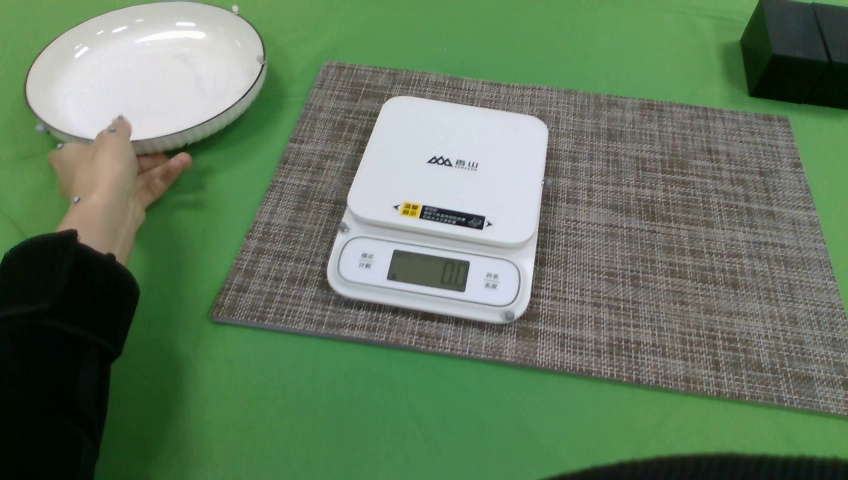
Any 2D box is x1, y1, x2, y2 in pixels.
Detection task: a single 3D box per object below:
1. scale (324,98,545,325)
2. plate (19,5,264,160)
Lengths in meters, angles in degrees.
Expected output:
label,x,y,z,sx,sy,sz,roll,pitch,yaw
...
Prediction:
label,x,y,z,sx,sy,sz,roll,pitch,yaw
scale,0.015,-0.032,0.478,0.148,0.032,0.199,9,53,6
plate,-0.250,-0.143,0.557,0.208,0.039,0.205,1,52,-1
